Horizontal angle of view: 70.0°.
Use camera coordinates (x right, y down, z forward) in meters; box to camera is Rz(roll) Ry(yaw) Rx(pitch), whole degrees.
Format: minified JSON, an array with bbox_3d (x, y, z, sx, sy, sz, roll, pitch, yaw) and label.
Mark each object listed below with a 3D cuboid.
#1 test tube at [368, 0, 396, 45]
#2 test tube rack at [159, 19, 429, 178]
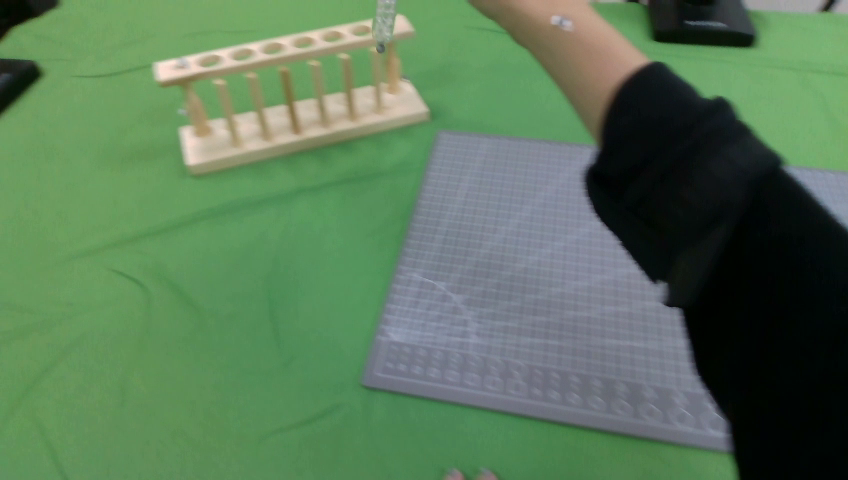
[{"bbox_3d":[-0.019,-0.185,0.366,0.017,0.151,0.017,7,49,-8],"label":"test tube"},{"bbox_3d":[-0.120,-0.142,0.598,0.243,0.086,0.066,-16,48,-13],"label":"test tube rack"}]
